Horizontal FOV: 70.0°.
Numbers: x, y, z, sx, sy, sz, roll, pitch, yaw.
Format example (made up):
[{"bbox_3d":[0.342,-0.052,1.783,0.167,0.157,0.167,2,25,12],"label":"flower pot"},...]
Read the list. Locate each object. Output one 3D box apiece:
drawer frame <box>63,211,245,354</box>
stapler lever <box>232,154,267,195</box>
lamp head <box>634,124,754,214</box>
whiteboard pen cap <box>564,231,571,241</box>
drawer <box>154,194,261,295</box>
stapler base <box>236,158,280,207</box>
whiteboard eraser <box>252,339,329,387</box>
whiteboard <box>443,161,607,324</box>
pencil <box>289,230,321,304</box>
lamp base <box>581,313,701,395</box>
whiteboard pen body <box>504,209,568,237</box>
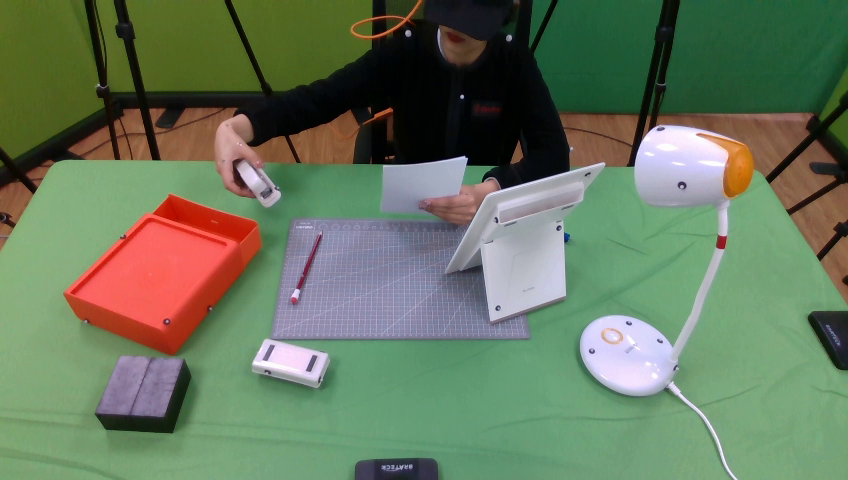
[{"bbox_3d":[-0.459,0.067,1.056,0.201,0.083,0.212,17,48,11],"label":"drawer frame"},{"bbox_3d":[-0.331,-0.126,1.138,0.027,0.040,0.117,-40,58,-5],"label":"stapler lever"},{"bbox_3d":[0.351,-0.089,0.776,0.112,0.113,0.122,-30,30,-28],"label":"lamp head"},{"bbox_3d":[0.281,-0.011,1.230,0.033,0.018,0.018,25,50,16],"label":"whiteboard pen cap"},{"bbox_3d":[-0.437,0.027,1.098,0.194,0.073,0.211,18,48,12],"label":"drawer"},{"bbox_3d":[-0.322,-0.115,1.158,0.041,0.024,0.130,-40,58,-5],"label":"stapler base"},{"bbox_3d":[-0.215,0.199,0.976,0.112,0.042,0.055,12,45,7],"label":"whiteboard eraser"},{"bbox_3d":[0.185,0.026,1.028,0.217,0.306,0.143,-15,68,-18],"label":"whiteboard"},{"bbox_3d":[-0.221,0.045,1.141,0.012,0.012,0.193,8,44,4],"label":"pencil"},{"bbox_3d":[0.361,0.144,0.973,0.178,0.181,0.160,34,53,23],"label":"lamp base"},{"bbox_3d":[0.230,-0.034,1.248,0.140,0.017,0.017,23,49,16],"label":"whiteboard pen body"}]
